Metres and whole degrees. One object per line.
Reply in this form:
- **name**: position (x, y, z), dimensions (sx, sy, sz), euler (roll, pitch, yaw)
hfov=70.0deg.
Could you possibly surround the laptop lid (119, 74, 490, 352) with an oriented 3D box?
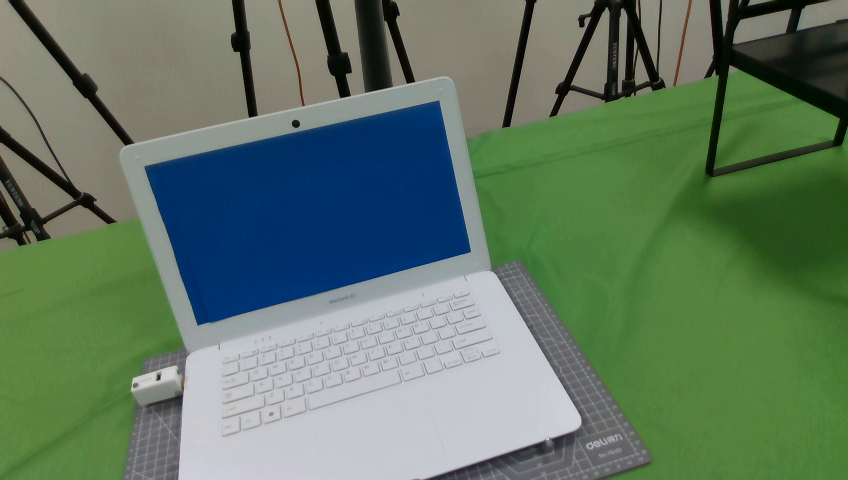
- **laptop lid**: position (-0.114, -0.028, 0.659), dimensions (0.357, 0.243, 0.013), euler (-16, 15, -8)

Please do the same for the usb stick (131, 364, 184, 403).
- **usb stick**: position (-0.264, 0.145, 0.620), dimensions (0.059, 0.027, 0.021), euler (-12, 34, -10)

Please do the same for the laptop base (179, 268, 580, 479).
- **laptop base**: position (-0.058, 0.145, 0.596), dimensions (0.355, 0.023, 0.233), euler (-15, 39, -9)
